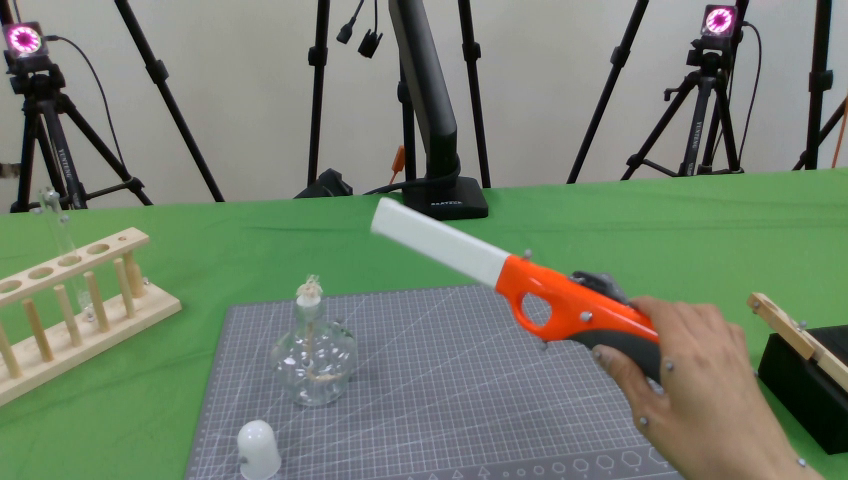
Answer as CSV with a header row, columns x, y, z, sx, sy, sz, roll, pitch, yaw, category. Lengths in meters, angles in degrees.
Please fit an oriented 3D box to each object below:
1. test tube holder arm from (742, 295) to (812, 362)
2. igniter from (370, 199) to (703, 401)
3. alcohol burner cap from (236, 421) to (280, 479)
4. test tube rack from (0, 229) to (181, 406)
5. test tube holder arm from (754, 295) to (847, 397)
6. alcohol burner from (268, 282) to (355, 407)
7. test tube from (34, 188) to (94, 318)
x,y,z,sx,sy,sz,roll,pitch,yaw,category
0.325,0.080,0.558,0.010,0.015,0.087,2,29,-14,test tube holder arm
0.067,0.031,0.437,0.274,0.057,0.025,27,11,32,igniter
-0.134,0.166,0.482,0.034,0.048,0.033,0,30,0,alcohol burner cap
-0.373,0.081,0.593,0.066,0.086,0.242,21,36,33,test tube rack
0.339,0.103,0.521,0.013,0.015,0.176,2,29,-14,test tube holder arm
-0.102,0.090,0.542,0.078,0.120,0.077,0,28,0,alcohol burner
-0.356,0.017,0.605,0.017,0.151,0.017,1,32,0,test tube
